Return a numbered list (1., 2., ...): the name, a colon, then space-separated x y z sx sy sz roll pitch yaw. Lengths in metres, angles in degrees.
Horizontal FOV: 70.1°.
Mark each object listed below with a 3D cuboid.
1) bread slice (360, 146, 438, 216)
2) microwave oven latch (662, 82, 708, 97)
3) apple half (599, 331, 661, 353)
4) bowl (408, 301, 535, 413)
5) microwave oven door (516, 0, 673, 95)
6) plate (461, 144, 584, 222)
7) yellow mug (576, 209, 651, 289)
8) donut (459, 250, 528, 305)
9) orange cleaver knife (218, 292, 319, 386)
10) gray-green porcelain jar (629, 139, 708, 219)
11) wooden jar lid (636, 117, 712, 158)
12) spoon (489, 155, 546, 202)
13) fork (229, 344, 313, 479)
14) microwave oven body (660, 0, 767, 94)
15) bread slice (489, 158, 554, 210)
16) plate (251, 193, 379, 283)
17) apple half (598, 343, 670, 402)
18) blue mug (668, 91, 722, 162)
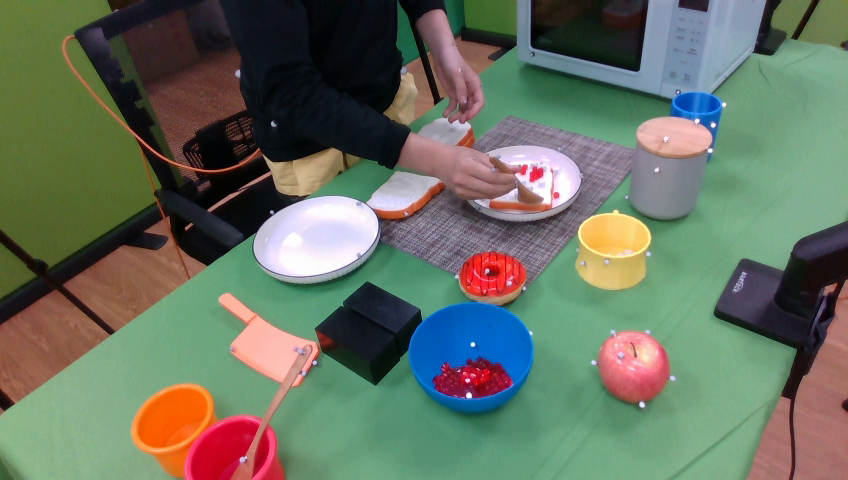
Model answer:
1. bread slice: -0.052 -0.103 1.046 0.106 0.018 0.134 18 66 23
2. microwave oven latch: 0.518 -0.298 1.202 0.078 0.029 0.030 28 53 35
3. apple half: 0.249 0.134 0.738 0.081 0.081 0.032 -1 46 7
4. bowl: 0.060 0.156 0.739 0.151 0.077 0.150 -4 40 4
5. microwave oven door: 0.344 -0.458 1.257 0.353 0.245 0.039 26 52 33
6. plate: 0.167 -0.095 1.040 0.207 0.039 0.206 -4 41 4
7. yellow mug: 0.279 0.004 0.893 0.099 0.064 0.130 5 41 14
8. donut: 0.100 0.053 0.873 0.099 0.048 0.098 -5 40 5
9. orange cleaver knife: -0.235 0.136 0.850 0.209 0.012 0.077 25 56 30
10. gray-green porcelain jar: 0.383 -0.104 0.958 0.106 0.127 0.105 -4 41 4
11. wooden jar lid: 0.377 -0.151 0.917 0.108 0.021 0.108 -2 41 3
12. spoon: 0.137 -0.090 0.904 0.041 0.195 0.021 -5 70 29
13. fork: -0.173 0.205 0.662 0.028 0.019 0.207 29 94 35
14. microwave oven body: 0.473 -0.516 1.313 0.438 0.261 0.327 26 51 34
15. bread slice: 0.173 -0.099 1.047 0.104 0.019 0.131 5 43 12
16. plate: -0.174 -0.001 0.985 0.209 0.038 0.208 -4 41 4
17. apple half: 0.247 0.161 0.710 0.081 0.075 0.053 2 47 5
18. blue mug: 0.475 -0.207 1.079 0.082 0.106 0.116 4 42 13
